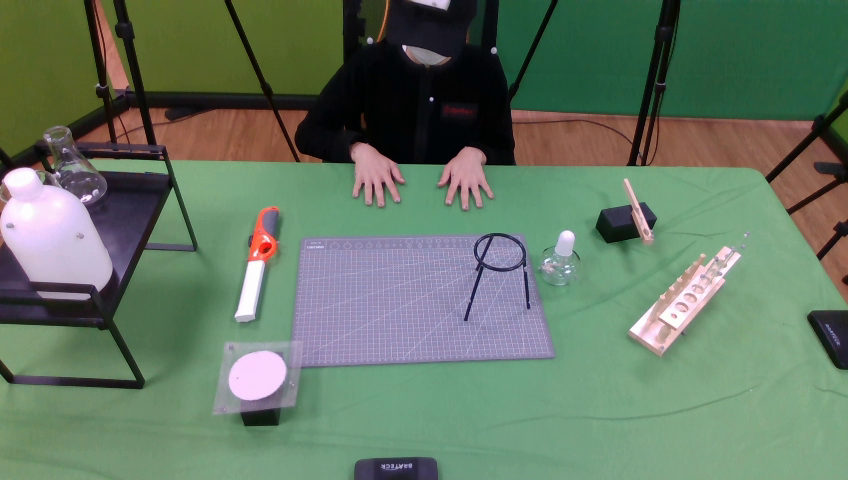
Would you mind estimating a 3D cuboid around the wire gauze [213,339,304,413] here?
[{"bbox_3d":[-0.250,0.203,0.925,0.121,0.011,0.124,-1,46,-3],"label":"wire gauze"}]

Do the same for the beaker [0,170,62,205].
[{"bbox_3d":[-0.562,-0.042,0.894,0.084,0.101,0.073,-2,47,-7],"label":"beaker"}]

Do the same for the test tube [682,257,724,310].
[{"bbox_3d":[0.475,0.080,1.037,0.017,0.151,0.017,2,51,-2],"label":"test tube"}]

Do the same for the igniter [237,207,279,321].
[{"bbox_3d":[-0.309,0.035,1.136,0.057,0.025,0.274,-7,45,4],"label":"igniter"}]

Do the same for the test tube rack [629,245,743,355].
[{"bbox_3d":[0.474,0.095,1.091,0.242,0.085,0.066,-34,56,-31],"label":"test tube rack"}]

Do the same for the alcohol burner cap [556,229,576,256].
[{"bbox_3d":[0.260,0.002,1.098,0.034,0.048,0.033,3,40,-2],"label":"alcohol burner cap"}]

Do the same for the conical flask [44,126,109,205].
[{"bbox_3d":[-0.554,-0.119,0.954,0.075,0.122,0.075,2,46,-2],"label":"conical flask"}]

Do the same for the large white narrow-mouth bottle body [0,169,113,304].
[{"bbox_3d":[-0.492,-0.010,0.801,0.102,0.195,0.101,2,46,-2],"label":"large white narrow-mouth bottle body"}]

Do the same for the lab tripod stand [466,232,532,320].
[{"bbox_3d":[0.125,0.059,1.065,0.148,0.132,0.147,1,45,0],"label":"lab tripod stand"}]

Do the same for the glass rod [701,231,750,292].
[{"bbox_3d":[0.519,0.045,1.051,0.008,0.201,0.008,0,55,0],"label":"glass rod"}]

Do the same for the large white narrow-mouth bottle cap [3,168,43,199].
[{"bbox_3d":[-0.489,-0.069,0.739,0.038,0.024,0.037,2,46,-2],"label":"large white narrow-mouth bottle cap"}]

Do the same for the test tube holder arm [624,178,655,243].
[{"bbox_3d":[0.432,-0.062,1.220,0.013,0.015,0.177,0,47,-2],"label":"test tube holder arm"}]

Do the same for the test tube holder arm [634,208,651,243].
[{"bbox_3d":[0.428,-0.029,1.189,0.010,0.015,0.087,0,47,-1],"label":"test tube holder arm"}]

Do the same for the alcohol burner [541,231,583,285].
[{"bbox_3d":[0.258,0.028,1.123,0.078,0.120,0.077,1,48,-1],"label":"alcohol burner"}]
